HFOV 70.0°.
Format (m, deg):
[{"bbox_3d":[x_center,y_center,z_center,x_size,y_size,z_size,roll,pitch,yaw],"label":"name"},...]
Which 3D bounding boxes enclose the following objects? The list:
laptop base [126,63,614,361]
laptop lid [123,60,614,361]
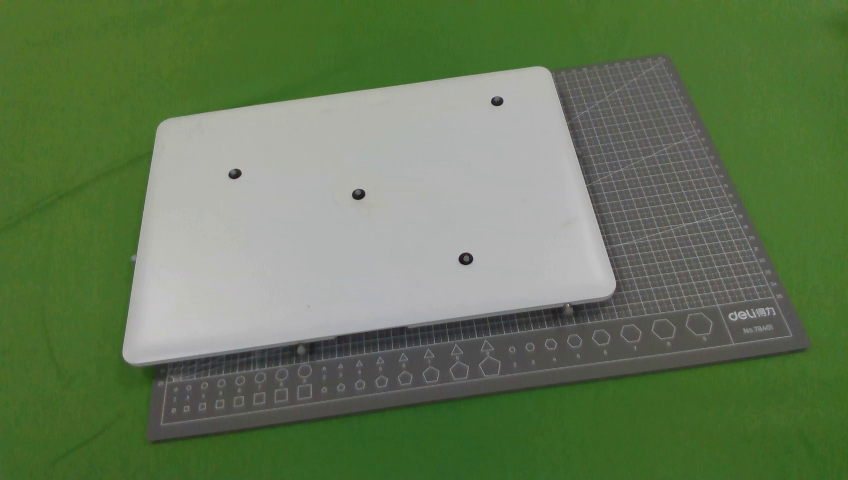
[{"bbox_3d":[-0.050,-0.033,0.491,0.354,0.023,0.233,-8,61,0],"label":"laptop base"},{"bbox_3d":[-0.051,-0.037,0.479,0.357,0.013,0.239,-7,60,1],"label":"laptop lid"}]
